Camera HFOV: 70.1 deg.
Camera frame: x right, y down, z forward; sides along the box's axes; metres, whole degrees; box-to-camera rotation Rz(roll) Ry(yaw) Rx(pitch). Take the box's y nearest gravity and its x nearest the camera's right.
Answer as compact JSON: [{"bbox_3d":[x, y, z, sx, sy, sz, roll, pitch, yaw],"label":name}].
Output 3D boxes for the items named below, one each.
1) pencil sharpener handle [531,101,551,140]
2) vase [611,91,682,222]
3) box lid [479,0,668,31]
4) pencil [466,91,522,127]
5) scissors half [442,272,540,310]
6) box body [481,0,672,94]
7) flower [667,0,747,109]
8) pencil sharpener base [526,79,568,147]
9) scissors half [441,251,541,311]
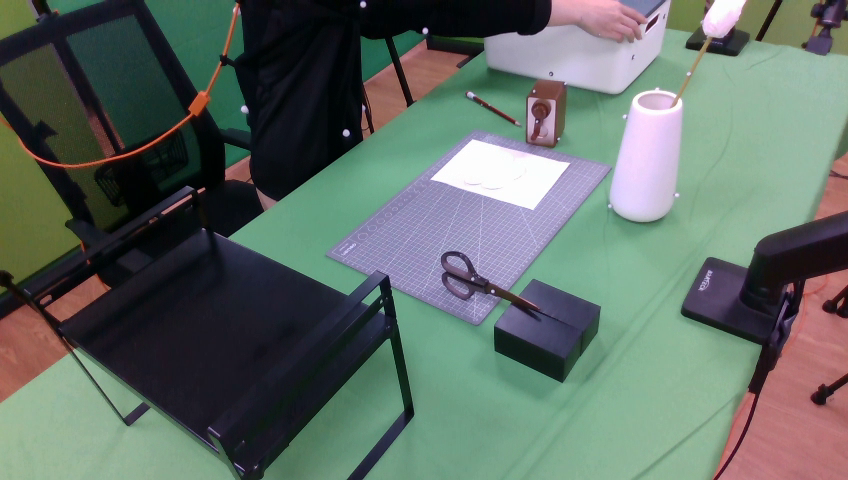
[{"bbox_3d":[0.211,-0.220,1.118,0.036,0.068,0.030,17,46,17],"label":"pencil sharpener handle"},{"bbox_3d":[0.348,-0.125,0.935,0.098,0.201,0.097,-3,40,3],"label":"vase"},{"bbox_3d":[0.335,-0.536,1.331,0.368,0.015,0.264,23,49,30],"label":"box lid"},{"bbox_3d":[0.148,-0.282,1.295,0.012,0.012,0.192,-26,45,-21],"label":"pencil"},{"bbox_3d":[0.089,0.074,0.833,0.013,0.040,0.173,-24,23,-38],"label":"scissors half"},{"bbox_3d":[0.341,-0.480,1.381,0.361,0.161,0.255,22,48,30],"label":"box body"},{"bbox_3d":[0.354,-0.187,0.879,0.038,0.362,0.044,31,48,14],"label":"flower"},{"bbox_3d":[0.235,-0.242,1.160,0.061,0.107,0.077,12,45,21],"label":"pencil sharpener base"},{"bbox_3d":[0.087,0.056,0.824,0.173,0.040,0.013,29,44,36],"label":"scissors half"}]
